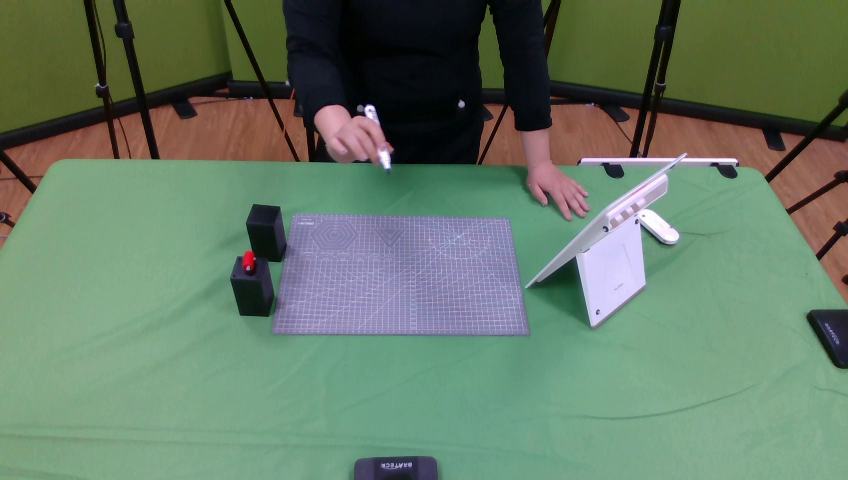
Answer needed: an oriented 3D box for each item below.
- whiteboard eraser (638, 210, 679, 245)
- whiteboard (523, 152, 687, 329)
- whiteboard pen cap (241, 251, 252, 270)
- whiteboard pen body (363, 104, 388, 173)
[{"bbox_3d":[0.485,-0.027,1.260,0.041,0.019,0.100,-21,50,-21],"label":"whiteboard eraser"},{"bbox_3d":[0.346,0.025,1.046,0.217,0.306,0.143,-30,74,-29],"label":"whiteboard"},{"bbox_3d":[-0.294,0.033,1.005,0.017,0.017,0.032,-2,44,-7],"label":"whiteboard pen cap"},{"bbox_3d":[-0.076,-0.163,0.967,0.017,0.017,0.139,-10,61,-14],"label":"whiteboard pen body"}]
